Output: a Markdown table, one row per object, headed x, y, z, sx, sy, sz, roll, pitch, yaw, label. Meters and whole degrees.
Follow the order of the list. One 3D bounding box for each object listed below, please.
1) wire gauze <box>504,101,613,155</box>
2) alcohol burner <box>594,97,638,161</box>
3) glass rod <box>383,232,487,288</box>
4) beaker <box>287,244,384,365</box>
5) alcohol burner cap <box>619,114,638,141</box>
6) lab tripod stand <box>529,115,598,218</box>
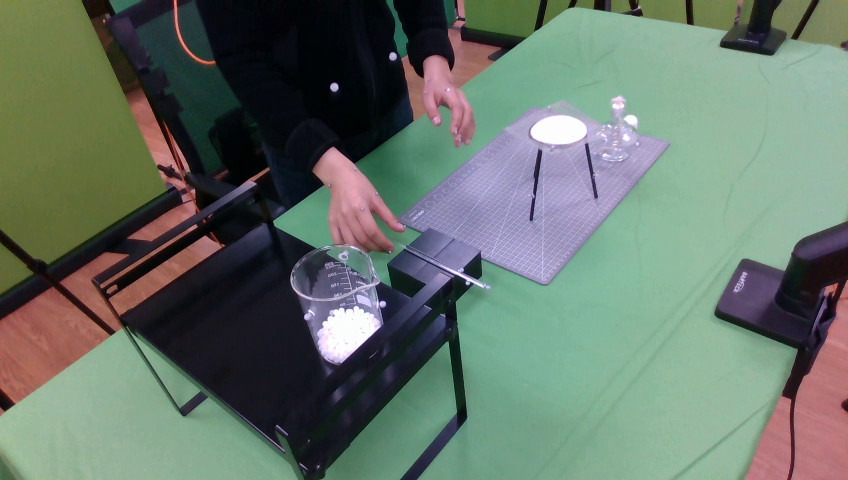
| x | y | z | sx | sy | sz | roll | pitch | yaw | label |
| --- | --- | --- | --- | --- | --- | --- | --- | --- | --- |
| 0.211 | -0.176 | 0.955 | 0.125 | 0.011 | 0.120 | -24 | 44 | -18 | wire gauze |
| 0.345 | -0.203 | 1.083 | 0.078 | 0.119 | 0.077 | -5 | 42 | 5 | alcohol burner |
| 0.011 | 0.027 | 0.879 | 0.198 | 0.008 | 0.008 | 27 | 51 | 34 | glass rod |
| -0.076 | 0.065 | 0.574 | 0.083 | 0.101 | 0.074 | 7 | 44 | 15 | beaker |
| 0.388 | -0.214 | 1.145 | 0.034 | 0.048 | 0.033 | -2 | 39 | 2 | alcohol burner cap |
| 0.217 | -0.124 | 0.995 | 0.148 | 0.132 | 0.147 | -4 | 43 | 4 | lab tripod stand |
